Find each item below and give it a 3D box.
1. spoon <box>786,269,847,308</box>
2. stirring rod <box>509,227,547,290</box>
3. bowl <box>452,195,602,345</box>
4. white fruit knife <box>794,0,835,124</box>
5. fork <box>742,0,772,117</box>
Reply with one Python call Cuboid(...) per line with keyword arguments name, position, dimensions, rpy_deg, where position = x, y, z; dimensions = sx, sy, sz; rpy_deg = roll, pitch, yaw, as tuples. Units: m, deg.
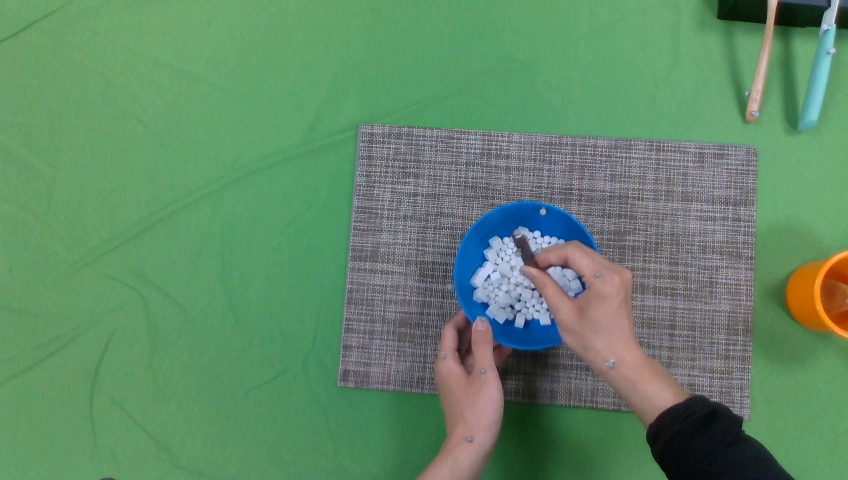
Cuboid(name="spoon", position=(0.466, 0.052, 0.594), dimensions=(0.022, 0.192, 0.041), rpy_deg=(9, 84, -41))
Cuboid(name="stirring rod", position=(0.102, 0.022, 0.577), dimensions=(0.014, 0.178, 0.006), rpy_deg=(15, 75, 22))
Cuboid(name="bowl", position=(0.105, 0.033, 0.640), dimensions=(0.151, 0.077, 0.151), rpy_deg=(0, 85, 3))
Cuboid(name="white fruit knife", position=(0.428, -0.229, 0.648), dimensions=(0.016, 0.027, 0.208), rpy_deg=(4, 102, 0))
Cuboid(name="fork", position=(0.366, -0.238, 0.653), dimensions=(0.028, 0.018, 0.208), rpy_deg=(1, 105, 0))
